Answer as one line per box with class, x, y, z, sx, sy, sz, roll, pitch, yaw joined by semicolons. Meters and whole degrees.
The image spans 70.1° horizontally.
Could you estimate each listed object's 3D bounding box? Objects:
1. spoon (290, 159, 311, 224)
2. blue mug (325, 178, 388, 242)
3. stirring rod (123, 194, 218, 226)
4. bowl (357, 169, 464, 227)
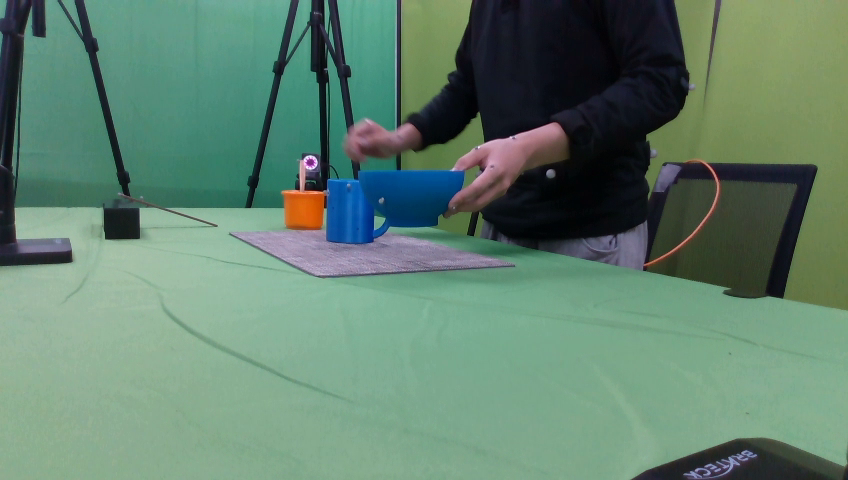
spoon;-0.256;-0.104;1.265;0.042;0.193;0.021;1;-37;-10
blue mug;-0.111;-0.052;1.034;0.116;0.106;0.082;3;7;7
stirring rod;-0.480;-0.056;1.153;0.177;0.006;0.014;20;-5;-29
bowl;-0.018;-0.061;0.848;0.151;0.077;0.151;-1;7;0
